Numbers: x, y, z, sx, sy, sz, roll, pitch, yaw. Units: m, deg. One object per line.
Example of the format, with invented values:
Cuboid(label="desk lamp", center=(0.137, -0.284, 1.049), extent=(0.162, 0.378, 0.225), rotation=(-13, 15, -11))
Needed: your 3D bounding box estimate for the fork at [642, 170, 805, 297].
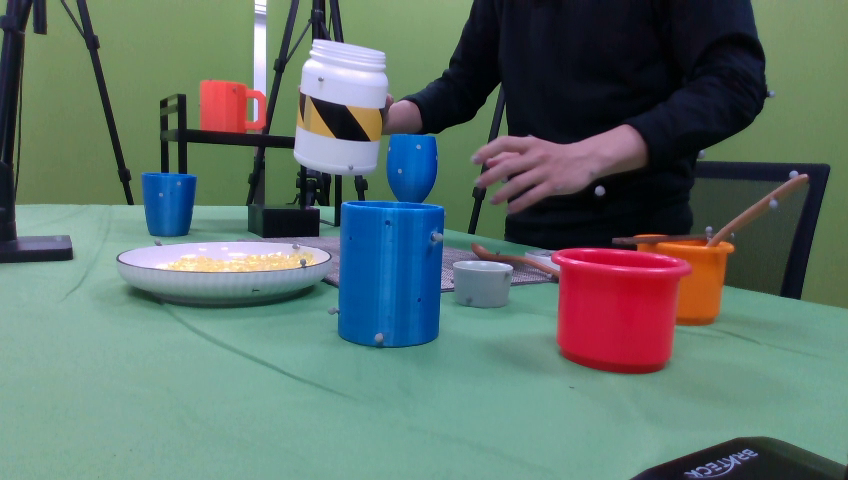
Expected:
Cuboid(label="fork", center=(0.261, 0.004, 0.545), extent=(0.028, 0.018, 0.207), rotation=(5, -37, -15))

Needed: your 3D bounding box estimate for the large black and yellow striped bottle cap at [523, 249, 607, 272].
Cuboid(label="large black and yellow striped bottle cap", center=(0.198, 0.028, 0.851), extent=(0.115, 0.019, 0.115), rotation=(5, 5, 0))

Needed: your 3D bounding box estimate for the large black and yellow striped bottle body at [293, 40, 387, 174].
Cuboid(label="large black and yellow striped bottle body", center=(-0.129, -0.205, 0.934), extent=(0.131, 0.184, 0.130), rotation=(9, 19, -3))

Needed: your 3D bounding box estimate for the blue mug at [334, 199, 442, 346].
Cuboid(label="blue mug", center=(-0.034, 0.020, 0.498), extent=(0.083, 0.106, 0.116), rotation=(0, 7, -20))

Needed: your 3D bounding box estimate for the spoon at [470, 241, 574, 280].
Cuboid(label="spoon", center=(0.125, 0.025, 0.801), extent=(0.042, 0.021, 0.192), rotation=(22, -5, -34))

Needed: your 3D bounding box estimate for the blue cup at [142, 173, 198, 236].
Cuboid(label="blue cup", center=(-0.425, -0.060, 1.014), extent=(0.093, 0.100, 0.092), rotation=(4, 9, 0))

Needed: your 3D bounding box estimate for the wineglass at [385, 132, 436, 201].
Cuboid(label="wineglass", center=(-0.020, -0.061, 0.838), extent=(0.074, 0.172, 0.073), rotation=(2, 7, 0))

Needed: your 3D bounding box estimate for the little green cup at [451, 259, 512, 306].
Cuboid(label="little green cup", center=(0.057, 0.043, 0.612), extent=(0.061, 0.038, 0.061), rotation=(3, 8, 0))

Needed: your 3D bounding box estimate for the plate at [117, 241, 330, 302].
Cuboid(label="plate", center=(-0.203, 0.031, 0.630), extent=(0.209, 0.038, 0.209), rotation=(3, 7, 0))

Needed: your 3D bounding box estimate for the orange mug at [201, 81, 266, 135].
Cuboid(label="orange mug", center=(-0.377, -0.260, 1.198), extent=(0.126, 0.101, 0.083), rotation=(-3, 8, -6))

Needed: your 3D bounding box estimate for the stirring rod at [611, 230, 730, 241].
Cuboid(label="stirring rod", center=(0.241, -0.005, 0.581), extent=(0.177, 0.006, 0.014), rotation=(-2, 9, -34))
